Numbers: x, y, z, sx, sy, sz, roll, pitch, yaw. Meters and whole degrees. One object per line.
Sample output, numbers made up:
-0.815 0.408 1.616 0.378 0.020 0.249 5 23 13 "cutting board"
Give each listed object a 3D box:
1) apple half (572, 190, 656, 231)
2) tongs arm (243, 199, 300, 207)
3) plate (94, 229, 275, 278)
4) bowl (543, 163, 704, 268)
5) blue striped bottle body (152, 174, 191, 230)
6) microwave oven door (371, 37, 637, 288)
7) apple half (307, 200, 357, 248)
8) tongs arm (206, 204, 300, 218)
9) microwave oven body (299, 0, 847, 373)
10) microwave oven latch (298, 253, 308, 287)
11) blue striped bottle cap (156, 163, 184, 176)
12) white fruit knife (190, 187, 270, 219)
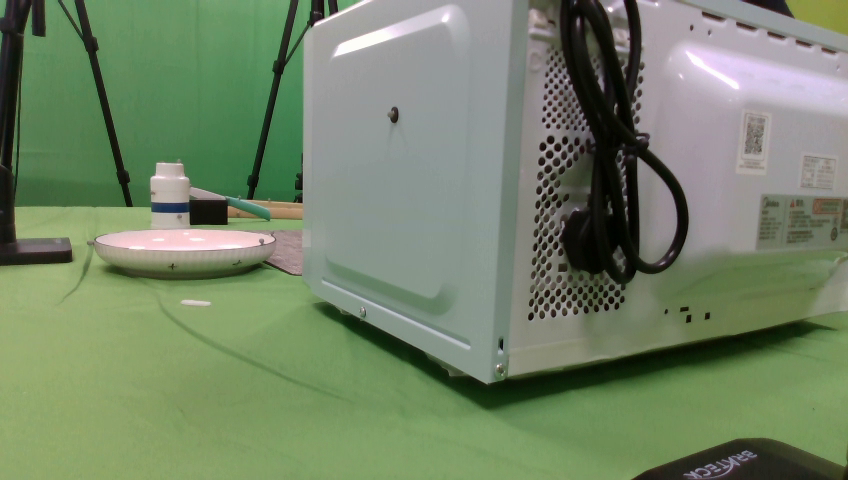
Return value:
0.182 -0.031 0.582 0.081 0.033 0.081 13 -3 1 "apple half"
-0.309 -0.078 1.487 0.385 0.026 0.050 3 7 -2 "tongs arm"
-0.291 0.016 0.749 0.208 0.039 0.207 2 7 0 "plate"
0.181 -0.021 0.584 0.151 0.077 0.151 13 7 -1 "bowl"
-0.439 -0.071 1.052 0.063 0.120 0.063 2 8 0 "blue striped bottle body"
0.110 -0.080 0.686 0.358 0.243 0.039 -2 9 -33 "microwave oven door"
-0.135 -0.024 0.942 0.053 0.074 0.081 15 10 38 "apple half"
-0.301 -0.066 1.407 0.389 0.028 0.028 1 4 -15 "tongs arm"
0.152 -0.055 0.542 0.444 0.260 0.324 -2 7 -33 "microwave oven body"
-0.081 0.028 0.581 0.079 0.029 0.030 -1 7 -31 "microwave oven latch"
-0.438 -0.121 1.044 0.044 0.020 0.044 4 6 0 "blue striped bottle cap"
-0.413 -0.081 1.269 0.208 0.027 0.016 17 14 -41 "white fruit knife"
